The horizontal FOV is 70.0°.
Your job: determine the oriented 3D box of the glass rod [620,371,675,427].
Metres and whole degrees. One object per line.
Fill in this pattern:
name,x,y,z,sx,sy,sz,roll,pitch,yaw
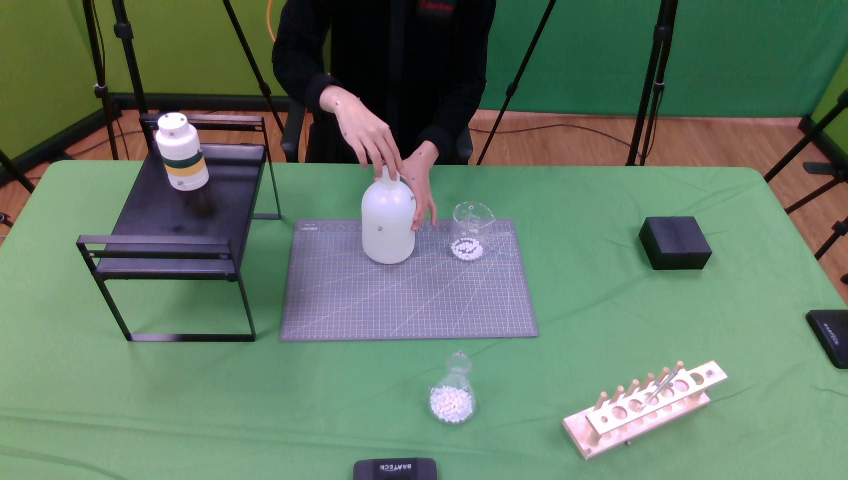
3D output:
glass rod,0.316,0.230,0.863,0.008,0.200,0.008,3,54,-3

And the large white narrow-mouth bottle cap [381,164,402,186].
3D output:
large white narrow-mouth bottle cap,-0.057,-0.113,1.055,0.038,0.024,0.037,4,45,-4

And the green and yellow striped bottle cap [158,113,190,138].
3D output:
green and yellow striped bottle cap,-0.393,-0.180,0.951,0.045,0.020,0.045,2,44,-2

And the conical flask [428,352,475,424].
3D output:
conical flask,0.046,0.220,0.920,0.075,0.122,0.075,2,46,-2

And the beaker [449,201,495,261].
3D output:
beaker,0.089,-0.014,1.160,0.084,0.101,0.073,9,47,4

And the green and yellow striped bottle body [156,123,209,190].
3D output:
green and yellow striped bottle body,-0.395,-0.145,0.989,0.063,0.120,0.063,2,46,-2

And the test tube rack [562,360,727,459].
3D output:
test tube rack,0.341,0.247,0.940,0.243,0.085,0.066,-16,49,-18

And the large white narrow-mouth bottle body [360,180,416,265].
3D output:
large white narrow-mouth bottle body,-0.066,-0.050,1.119,0.102,0.195,0.101,4,45,-4
